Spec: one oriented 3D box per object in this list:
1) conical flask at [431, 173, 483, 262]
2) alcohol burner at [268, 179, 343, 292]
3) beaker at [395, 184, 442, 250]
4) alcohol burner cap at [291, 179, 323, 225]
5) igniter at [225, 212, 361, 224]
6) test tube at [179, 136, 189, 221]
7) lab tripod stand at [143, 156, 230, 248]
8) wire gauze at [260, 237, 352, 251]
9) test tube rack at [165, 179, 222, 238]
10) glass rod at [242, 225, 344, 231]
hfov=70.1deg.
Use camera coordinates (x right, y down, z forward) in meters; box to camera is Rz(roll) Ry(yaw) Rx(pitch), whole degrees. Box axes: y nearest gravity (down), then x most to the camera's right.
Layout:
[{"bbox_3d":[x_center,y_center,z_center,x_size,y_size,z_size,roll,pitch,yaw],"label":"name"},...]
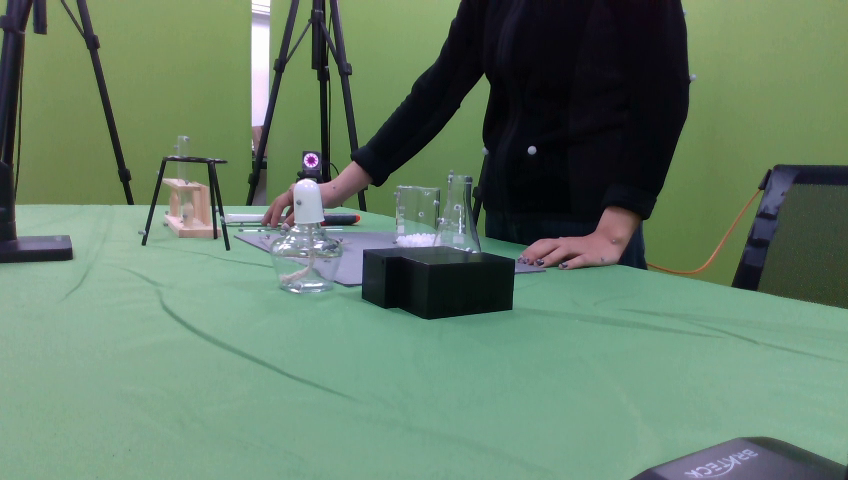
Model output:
[{"bbox_3d":[0.049,-0.033,0.857,0.075,0.122,0.075,2,7,0],"label":"conical flask"},{"bbox_3d":[-0.124,-0.005,0.637,0.078,0.119,0.078,4,8,0],"label":"alcohol burner"},{"bbox_3d":[-0.009,-0.038,0.968,0.074,0.100,0.084,6,8,21],"label":"beaker"},{"bbox_3d":[-0.124,-0.040,0.632,0.034,0.048,0.034,-3,10,1],"label":"alcohol burner cap"},{"bbox_3d":[-0.262,-0.044,1.240,0.278,0.025,0.057,-2,-1,-31],"label":"igniter"},{"bbox_3d":[-0.425,-0.108,1.070,0.017,0.150,0.017,4,9,0],"label":"test tube"},{"bbox_3d":[-0.338,-0.058,0.908,0.148,0.131,0.148,4,7,0],"label":"lab tripod stand"},{"bbox_3d":[-0.184,0.004,0.938,0.122,0.011,0.124,-1,5,-24],"label":"wire gauze"},{"bbox_3d":[-0.423,-0.062,1.098,0.067,0.085,0.241,-2,9,-28],"label":"test tube rack"},{"bbox_3d":[-0.245,-0.023,1.154,0.201,0.008,0.008,-2,8,-31],"label":"glass rod"}]
